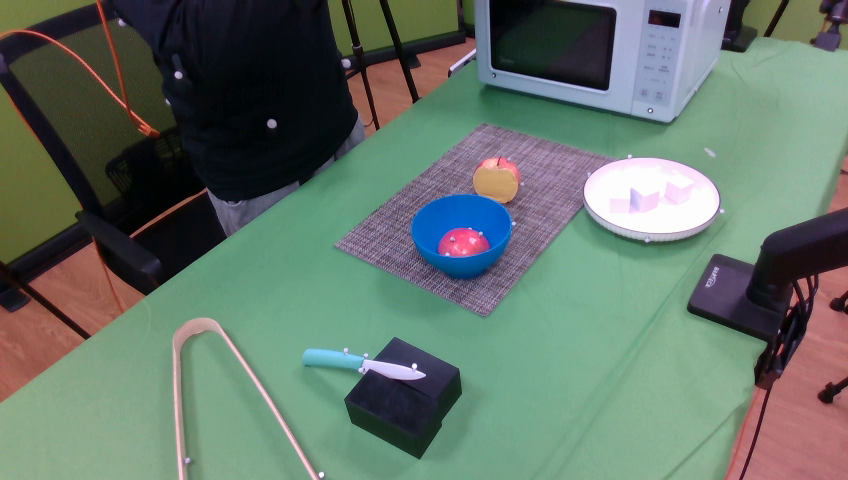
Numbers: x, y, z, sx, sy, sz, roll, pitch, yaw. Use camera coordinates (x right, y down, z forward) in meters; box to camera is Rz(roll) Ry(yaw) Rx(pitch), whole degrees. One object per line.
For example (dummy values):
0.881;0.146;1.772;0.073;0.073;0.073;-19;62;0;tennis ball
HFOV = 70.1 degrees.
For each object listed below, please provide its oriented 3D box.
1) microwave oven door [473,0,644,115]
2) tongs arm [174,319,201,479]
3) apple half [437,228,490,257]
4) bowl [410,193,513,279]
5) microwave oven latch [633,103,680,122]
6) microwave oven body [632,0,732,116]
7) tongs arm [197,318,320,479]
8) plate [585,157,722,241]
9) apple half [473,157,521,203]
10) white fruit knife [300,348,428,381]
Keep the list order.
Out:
0.257;-0.396;1.199;0.353;0.245;0.039;21;48;29;microwave oven door
-0.272;0.234;0.723;0.051;0.026;0.381;-19;40;-15;tongs arm
0.056;0.002;0.901;0.081;0.033;0.081;-3;41;3;apple half
0.058;0.005;0.905;0.151;0.077;0.150;-4;40;4;bowl
0.443;-0.249;1.158;0.078;0.029;0.030;20;48;29;microwave oven latch
0.377;-0.463;1.267;0.438;0.261;0.327;21;49;30;microwave oven body
-0.200;0.207;0.751;0.028;0.028;0.384;-31;45;-22;tongs arm
0.367;-0.063;0.979;0.207;0.039;0.206;-4;40;4;plate
0.128;-0.107;1.030;0.080;0.075;0.053;4;38;19;apple half
-0.080;0.154;0.748;0.206;0.027;0.016;1;20;34;white fruit knife
